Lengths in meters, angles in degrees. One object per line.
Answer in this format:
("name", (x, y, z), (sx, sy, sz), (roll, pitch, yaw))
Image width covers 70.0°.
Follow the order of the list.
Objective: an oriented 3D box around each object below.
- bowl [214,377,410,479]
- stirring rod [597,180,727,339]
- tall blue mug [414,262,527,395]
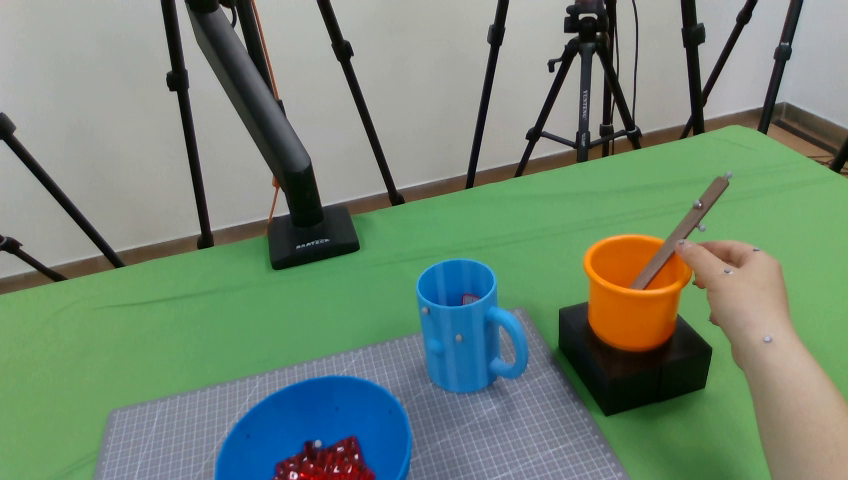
("bowl", (-0.080, 0.191, 0.482), (0.151, 0.077, 0.150), (-5, 33, 3))
("stirring rod", (0.214, 0.018, 0.548), (0.176, 0.006, 0.014), (-54, 41, 7))
("tall blue mug", (0.049, 0.087, 0.587), (0.107, 0.109, 0.077), (2, 34, 14))
